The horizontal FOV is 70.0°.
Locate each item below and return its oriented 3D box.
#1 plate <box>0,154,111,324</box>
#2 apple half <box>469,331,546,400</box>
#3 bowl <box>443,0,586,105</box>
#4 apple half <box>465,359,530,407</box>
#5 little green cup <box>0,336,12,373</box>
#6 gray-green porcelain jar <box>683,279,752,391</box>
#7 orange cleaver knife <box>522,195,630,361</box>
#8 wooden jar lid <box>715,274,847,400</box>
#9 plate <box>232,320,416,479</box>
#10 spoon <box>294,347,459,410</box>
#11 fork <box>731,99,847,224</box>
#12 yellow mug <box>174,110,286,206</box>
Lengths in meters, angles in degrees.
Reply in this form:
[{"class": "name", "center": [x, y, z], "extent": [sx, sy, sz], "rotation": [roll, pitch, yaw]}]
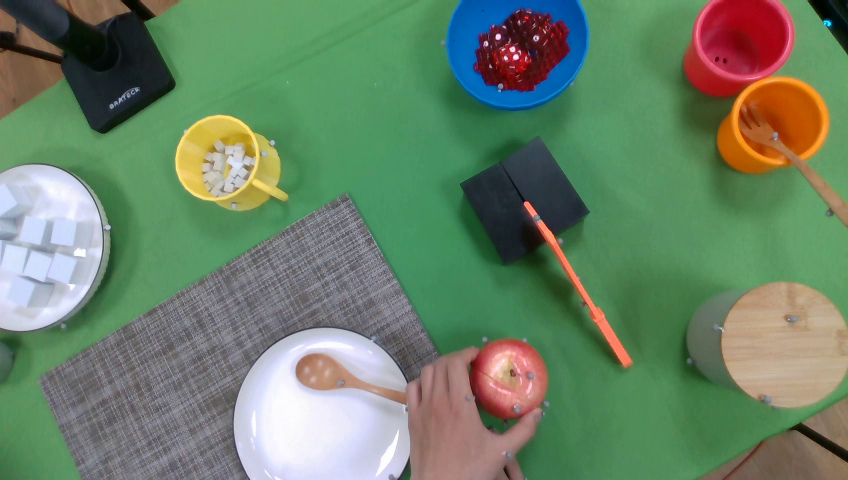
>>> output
[{"class": "plate", "center": [-0.480, 0.000, 0.750], "extent": [0.207, 0.039, 0.207], "rotation": [-1, 85, 8]}, {"class": "apple half", "center": [0.093, 0.124, 0.627], "extent": [0.080, 0.075, 0.053], "rotation": [27, 79, 19]}, {"class": "bowl", "center": [0.099, -0.214, 0.672], "extent": [0.151, 0.077, 0.151], "rotation": [-1, 85, 8]}, {"class": "apple half", "center": [0.073, 0.151, 0.620], "extent": [0.081, 0.081, 0.033], "rotation": [24, 88, 10]}, {"class": "little green cup", "center": [-0.544, 0.143, 0.744], "extent": [0.061, 0.039, 0.061], "rotation": [0, 85, 6]}, {"class": "gray-green porcelain jar", "center": [0.319, 0.092, 0.591], "extent": [0.106, 0.127, 0.105], "rotation": [-1, 84, 8]}, {"class": "orange cleaver knife", "center": [0.160, 0.042, 0.635], "extent": [0.012, 0.076, 0.213], "rotation": [-33, 114, 7]}, {"class": "wooden jar lid", "center": [0.310, 0.084, 0.530], "extent": [0.108, 0.021, 0.108], "rotation": [0, 87, 6]}, {"class": "plate", "center": [-0.110, 0.194, 0.679], "extent": [0.209, 0.038, 0.208], "rotation": [-1, 85, 8]}, {"class": "spoon", "center": [-0.055, 0.157, 0.662], "extent": [0.193, 0.022, 0.041], "rotation": [12, 85, 20]}, {"class": "fork", "center": [0.356, -0.083, 0.590], "extent": [0.028, 0.019, 0.205], "rotation": [-9, 40, 0]}, {"class": "yellow mug", "center": [-0.218, -0.087, 0.709], "extent": [0.130, 0.064, 0.100], "rotation": [31, 89, 8]}]
